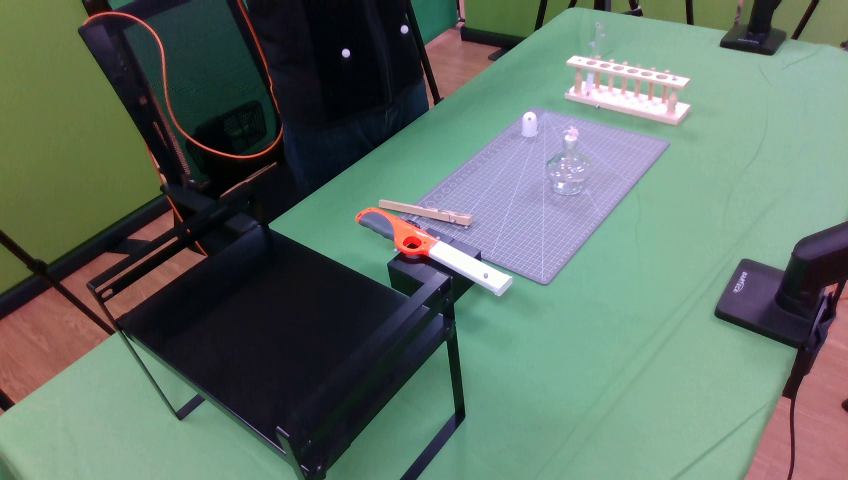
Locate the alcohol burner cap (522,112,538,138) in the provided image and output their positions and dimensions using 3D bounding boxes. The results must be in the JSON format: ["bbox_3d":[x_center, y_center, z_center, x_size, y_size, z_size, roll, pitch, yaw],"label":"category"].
[{"bbox_3d":[0.210,-0.230,1.195,0.034,0.048,0.033,-5,42,5],"label":"alcohol burner cap"}]

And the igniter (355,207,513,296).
[{"bbox_3d":[0.006,0.010,0.885,0.274,0.025,0.057,27,53,30],"label":"igniter"}]

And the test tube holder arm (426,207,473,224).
[{"bbox_3d":[0.041,-0.041,1.016,0.087,0.015,0.010,12,21,26],"label":"test tube holder arm"}]

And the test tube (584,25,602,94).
[{"bbox_3d":[0.341,-0.362,1.224,0.017,0.151,0.017,-2,45,2],"label":"test tube"}]

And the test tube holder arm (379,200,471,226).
[{"bbox_3d":[-0.002,-0.048,1.031,0.177,0.015,0.013,12,21,25],"label":"test tube holder arm"}]

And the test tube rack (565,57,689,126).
[{"bbox_3d":[0.412,-0.311,1.230,0.240,0.085,0.067,23,49,32],"label":"test tube rack"}]

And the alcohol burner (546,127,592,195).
[{"bbox_3d":[0.246,-0.137,1.024,0.078,0.119,0.077,-4,38,4],"label":"alcohol burner"}]
